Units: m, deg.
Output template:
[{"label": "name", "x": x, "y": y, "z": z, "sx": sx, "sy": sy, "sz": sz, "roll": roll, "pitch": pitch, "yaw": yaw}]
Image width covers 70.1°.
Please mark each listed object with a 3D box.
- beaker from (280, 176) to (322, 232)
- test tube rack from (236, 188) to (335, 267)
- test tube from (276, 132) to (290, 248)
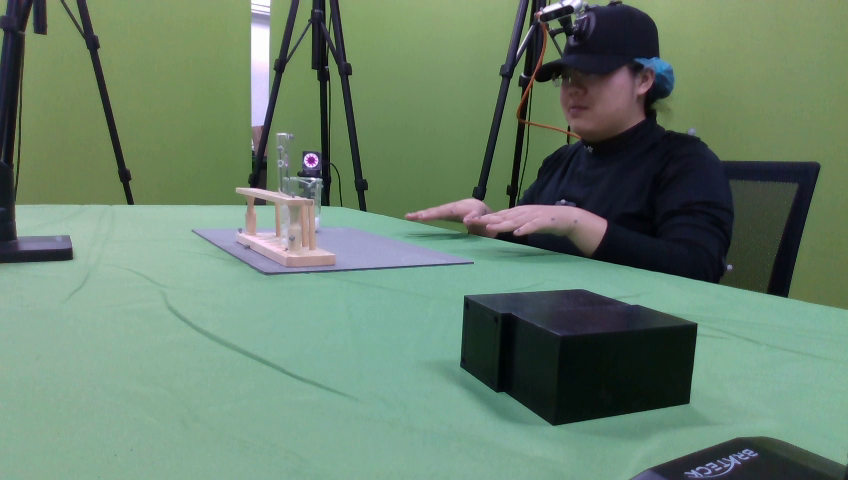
[{"label": "beaker", "x": -0.225, "y": -0.065, "z": 1.111, "sx": 0.074, "sy": 0.100, "sz": 0.083, "roll": -2, "pitch": 10, "yaw": -30}, {"label": "test tube rack", "x": -0.202, "y": -0.025, "z": 0.855, "sx": 0.067, "sy": 0.085, "sz": 0.241, "roll": -2, "pitch": 9, "yaw": -31}, {"label": "test tube", "x": -0.180, "y": -0.063, "z": 0.778, "sx": 0.017, "sy": 0.150, "sz": 0.017, "roll": 0, "pitch": 9, "yaw": 0}]
